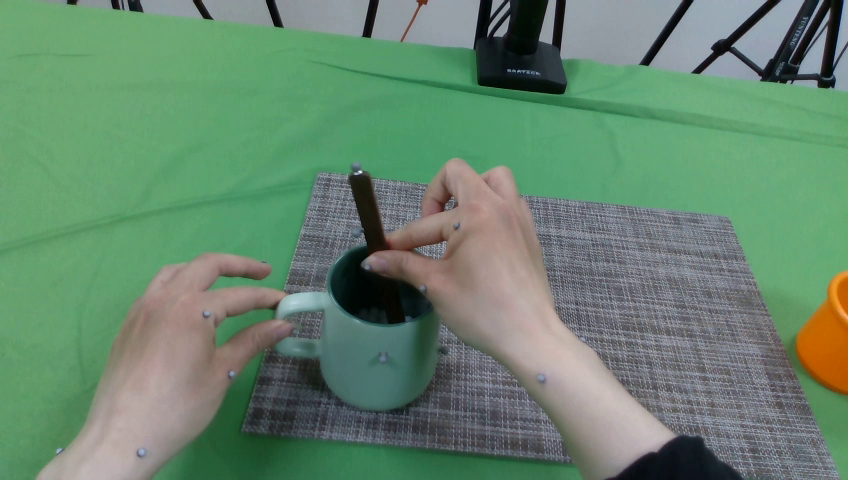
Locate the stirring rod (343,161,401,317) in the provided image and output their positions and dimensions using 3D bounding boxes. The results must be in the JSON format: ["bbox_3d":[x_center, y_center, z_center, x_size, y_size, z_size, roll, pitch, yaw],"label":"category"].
[{"bbox_3d":[-0.032,0.014,0.422,0.014,0.178,0.005,-3,48,6],"label":"stirring rod"}]

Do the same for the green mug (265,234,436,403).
[{"bbox_3d":[-0.052,0.060,0.445,0.125,0.106,0.091,-2,47,-10],"label":"green mug"}]
